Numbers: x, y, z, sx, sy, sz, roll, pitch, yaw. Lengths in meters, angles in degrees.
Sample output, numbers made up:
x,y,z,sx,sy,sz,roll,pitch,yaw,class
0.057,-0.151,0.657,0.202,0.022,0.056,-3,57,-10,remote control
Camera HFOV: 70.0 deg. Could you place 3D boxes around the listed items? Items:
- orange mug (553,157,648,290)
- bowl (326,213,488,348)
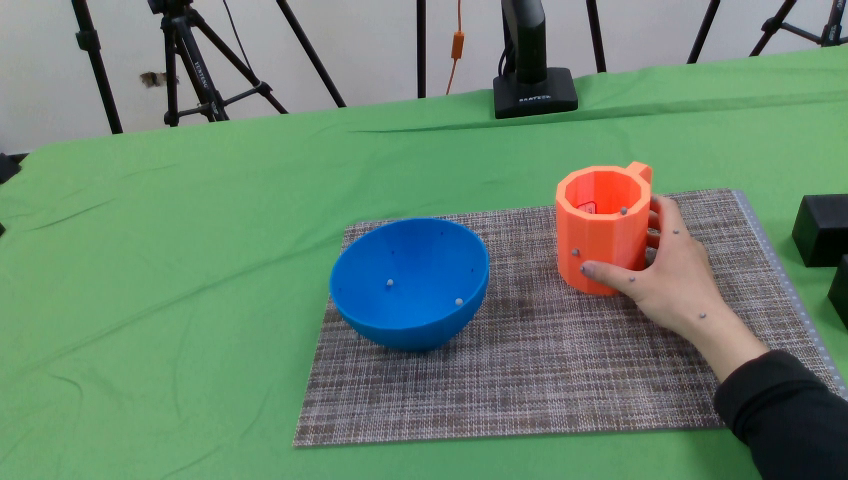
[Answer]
x,y,z,sx,sy,sz,roll,pitch,yaw,class
0.184,-0.025,0.604,0.082,0.102,0.126,27,58,37,orange mug
-0.010,0.051,0.580,0.151,0.077,0.150,-7,40,6,bowl
